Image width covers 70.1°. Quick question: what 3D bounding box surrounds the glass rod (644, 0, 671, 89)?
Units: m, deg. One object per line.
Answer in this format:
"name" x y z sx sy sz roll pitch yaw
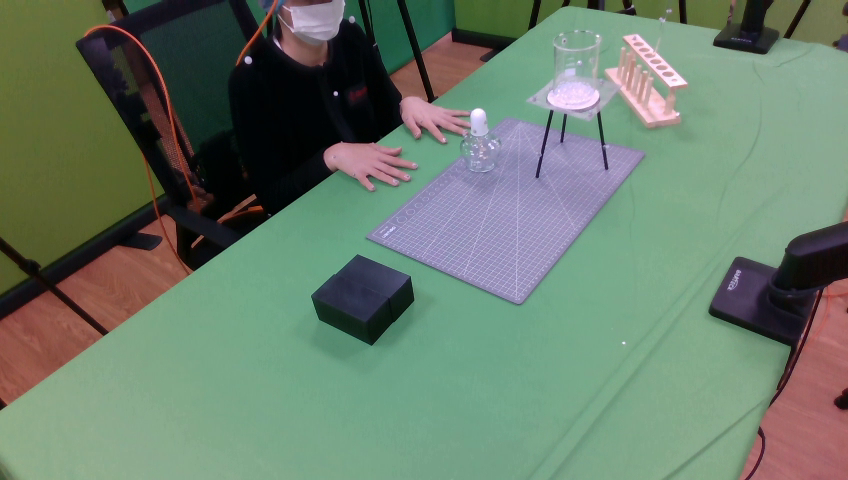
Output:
"glass rod" 0.463 -0.387 1.204 0.008 0.200 0.008 0 47 1

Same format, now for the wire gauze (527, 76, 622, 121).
"wire gauze" 0.255 -0.247 1.031 0.124 0.011 0.122 23 49 34

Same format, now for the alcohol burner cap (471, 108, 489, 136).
"alcohol burner cap" 0.098 -0.211 1.074 0.034 0.048 0.033 -6 42 6

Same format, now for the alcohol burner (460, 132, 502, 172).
"alcohol burner" 0.102 -0.185 1.098 0.078 0.119 0.077 -6 40 5

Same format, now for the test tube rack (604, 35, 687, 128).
"test tube rack" 0.447 -0.330 1.242 0.067 0.085 0.241 -9 41 -2

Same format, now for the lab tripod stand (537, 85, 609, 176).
"lab tripod stand" 0.259 -0.192 1.068 0.148 0.132 0.147 -4 42 4

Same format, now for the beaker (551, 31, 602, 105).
"beaker" 0.252 -0.282 0.998 0.084 0.101 0.073 -16 42 -7
